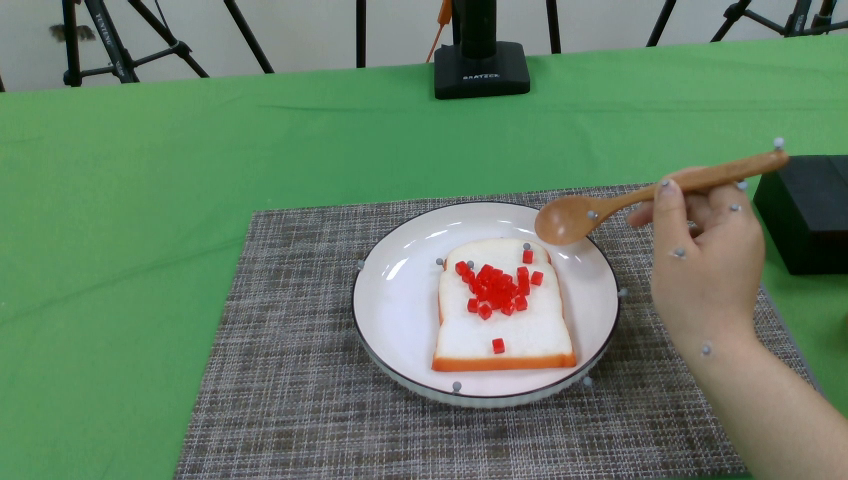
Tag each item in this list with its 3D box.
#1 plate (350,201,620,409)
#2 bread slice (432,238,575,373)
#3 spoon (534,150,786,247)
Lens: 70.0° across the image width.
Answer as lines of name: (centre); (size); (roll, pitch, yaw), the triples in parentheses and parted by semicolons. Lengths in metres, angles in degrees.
plate: (0.046, 0.047, 0.485); (0.209, 0.038, 0.207); (-3, 43, 3)
bread slice: (0.059, 0.048, 0.487); (0.105, 0.019, 0.130); (-2, 44, 3)
spoon: (0.153, -0.029, 0.430); (0.022, 0.193, 0.041); (15, 71, -31)
